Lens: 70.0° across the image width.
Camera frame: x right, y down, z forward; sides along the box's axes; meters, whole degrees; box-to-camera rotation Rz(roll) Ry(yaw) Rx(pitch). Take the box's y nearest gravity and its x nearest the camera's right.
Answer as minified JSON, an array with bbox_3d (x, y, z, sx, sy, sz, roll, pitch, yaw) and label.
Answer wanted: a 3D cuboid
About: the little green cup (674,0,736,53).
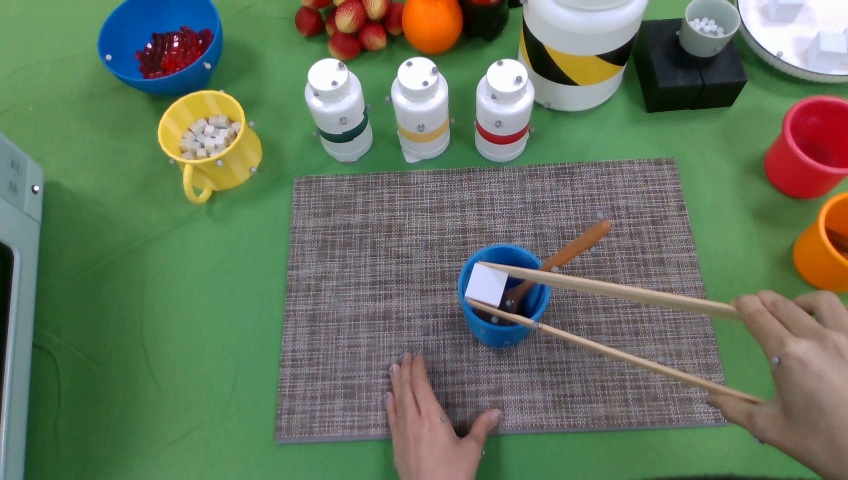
[{"bbox_3d":[0.322,-0.249,0.700,0.061,0.039,0.061,0,65,1],"label":"little green cup"}]

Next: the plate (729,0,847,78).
[{"bbox_3d":[0.487,-0.285,0.762,0.209,0.038,0.207,-1,67,3],"label":"plate"}]

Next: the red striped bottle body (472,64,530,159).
[{"bbox_3d":[0.086,-0.149,0.679,0.063,0.120,0.062,-3,64,6],"label":"red striped bottle body"}]

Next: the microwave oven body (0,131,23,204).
[{"bbox_3d":[-0.583,0.084,0.533,0.326,0.262,0.438,-11,67,-3],"label":"microwave oven body"}]

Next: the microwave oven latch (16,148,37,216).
[{"bbox_3d":[-0.466,-0.064,0.697,0.030,0.030,0.078,-11,67,-2],"label":"microwave oven latch"}]

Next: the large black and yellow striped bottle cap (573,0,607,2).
[{"bbox_3d":[0.166,-0.288,0.608,0.115,0.019,0.114,-1,65,3],"label":"large black and yellow striped bottle cap"}]

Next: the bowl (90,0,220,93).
[{"bbox_3d":[-0.323,-0.240,0.762,0.151,0.077,0.150,-1,67,2],"label":"bowl"}]

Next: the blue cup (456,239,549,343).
[{"bbox_3d":[0.072,0.059,0.595,0.092,0.101,0.092,0,64,1],"label":"blue cup"}]

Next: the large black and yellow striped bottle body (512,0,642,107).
[{"bbox_3d":[0.171,-0.255,0.686,0.131,0.185,0.130,-1,66,3],"label":"large black and yellow striped bottle body"}]

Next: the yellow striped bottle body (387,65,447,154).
[{"bbox_3d":[-0.007,-0.154,0.686,0.063,0.121,0.062,-2,66,4],"label":"yellow striped bottle body"}]

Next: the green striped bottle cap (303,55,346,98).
[{"bbox_3d":[-0.105,-0.174,0.643,0.044,0.020,0.044,-1,65,2],"label":"green striped bottle cap"}]

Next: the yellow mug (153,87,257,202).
[{"bbox_3d":[-0.258,-0.106,0.708,0.100,0.064,0.130,7,67,5],"label":"yellow mug"}]

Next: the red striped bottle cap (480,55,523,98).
[{"bbox_3d":[0.082,-0.171,0.632,0.044,0.018,0.044,1,65,-1],"label":"red striped bottle cap"}]

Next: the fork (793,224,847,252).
[{"bbox_3d":[0.457,0.013,0.574,0.028,0.019,0.205,-37,25,-17],"label":"fork"}]

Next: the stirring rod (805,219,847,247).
[{"bbox_3d":[0.429,0.013,0.581,0.014,0.006,0.174,-9,23,-2],"label":"stirring rod"}]

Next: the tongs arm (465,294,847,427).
[{"bbox_3d":[0.192,0.075,0.420,0.381,0.027,0.050,17,79,39],"label":"tongs arm"}]

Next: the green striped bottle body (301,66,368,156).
[{"bbox_3d":[-0.102,-0.153,0.691,0.063,0.120,0.062,-1,66,3],"label":"green striped bottle body"}]

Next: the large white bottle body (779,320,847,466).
[{"bbox_3d":[0.407,0.119,0.510,0.130,0.186,0.129,-1,66,3],"label":"large white bottle body"}]

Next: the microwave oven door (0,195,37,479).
[{"bbox_3d":[-0.431,0.090,0.517,0.039,0.245,0.352,-12,66,-2],"label":"microwave oven door"}]

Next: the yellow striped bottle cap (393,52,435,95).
[{"bbox_3d":[-0.010,-0.176,0.639,0.044,0.019,0.044,-1,68,2],"label":"yellow striped bottle cap"}]

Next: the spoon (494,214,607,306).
[{"bbox_3d":[0.101,0.033,0.562,0.022,0.194,0.041,-6,63,-33],"label":"spoon"}]

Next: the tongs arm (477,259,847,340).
[{"bbox_3d":[0.200,0.054,0.424,0.384,0.028,0.028,12,72,38],"label":"tongs arm"}]
